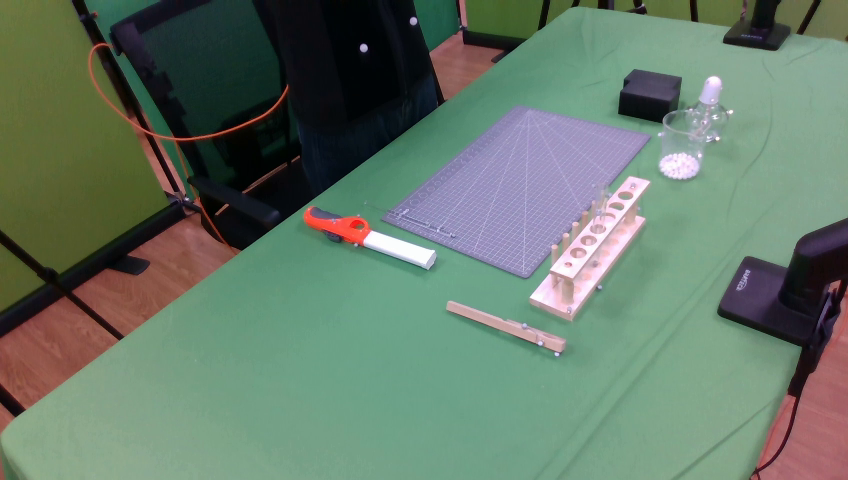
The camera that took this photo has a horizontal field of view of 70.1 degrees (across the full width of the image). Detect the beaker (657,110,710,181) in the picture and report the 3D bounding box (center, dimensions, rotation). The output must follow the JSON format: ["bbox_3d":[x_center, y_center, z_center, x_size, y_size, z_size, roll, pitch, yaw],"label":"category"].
[{"bbox_3d":[0.438,-0.156,1.024,0.074,0.101,0.083,-14,41,-4],"label":"beaker"}]

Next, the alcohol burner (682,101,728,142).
[{"bbox_3d":[0.513,-0.239,1.097,0.078,0.119,0.077,-4,40,4],"label":"alcohol burner"}]

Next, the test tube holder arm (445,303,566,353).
[{"bbox_3d":[0.107,0.117,0.824,0.177,0.015,0.013,16,11,27],"label":"test tube holder arm"}]

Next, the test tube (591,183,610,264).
[{"bbox_3d":[0.242,-0.019,0.832,0.017,0.151,0.017,-5,46,6],"label":"test tube"}]

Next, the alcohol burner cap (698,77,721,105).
[{"bbox_3d":[0.509,-0.266,1.072,0.034,0.048,0.033,-4,48,5],"label":"alcohol burner cap"}]

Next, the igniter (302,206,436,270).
[{"bbox_3d":[-0.101,-0.007,1.004,0.274,0.025,0.057,19,58,29],"label":"igniter"}]

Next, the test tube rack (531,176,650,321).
[{"bbox_3d":[0.246,0.002,0.884,0.066,0.085,0.243,22,49,32],"label":"test tube rack"}]

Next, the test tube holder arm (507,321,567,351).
[{"bbox_3d":[0.148,0.128,0.808,0.087,0.015,0.010,16,11,28],"label":"test tube holder arm"}]

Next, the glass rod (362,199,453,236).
[{"bbox_3d":[-0.031,-0.041,1.041,0.198,0.008,0.008,22,50,31],"label":"glass rod"}]
